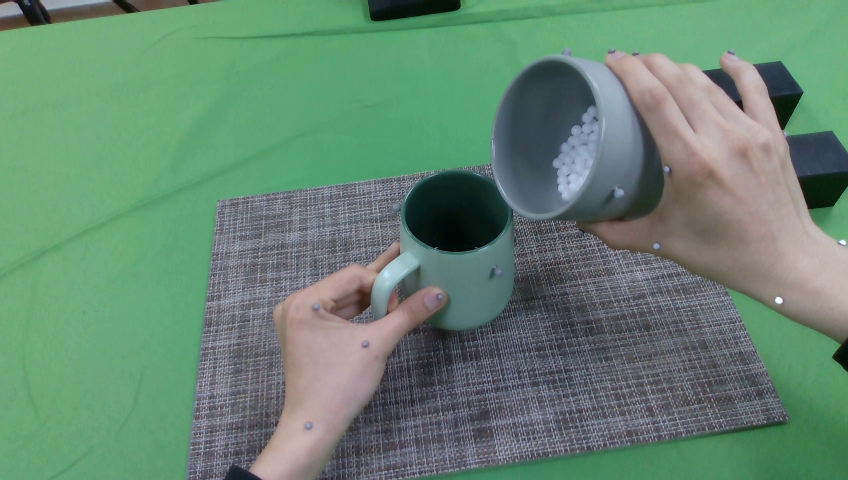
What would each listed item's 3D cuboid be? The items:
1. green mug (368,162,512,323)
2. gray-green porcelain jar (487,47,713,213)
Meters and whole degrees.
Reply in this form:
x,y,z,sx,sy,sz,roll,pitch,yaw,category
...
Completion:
x,y,z,sx,sy,sz,roll,pitch,yaw,category
0.010,0.014,0.456,0.125,0.106,0.091,-37,61,-21,green mug
0.125,-0.071,0.421,0.127,0.106,0.104,-2,48,-33,gray-green porcelain jar
